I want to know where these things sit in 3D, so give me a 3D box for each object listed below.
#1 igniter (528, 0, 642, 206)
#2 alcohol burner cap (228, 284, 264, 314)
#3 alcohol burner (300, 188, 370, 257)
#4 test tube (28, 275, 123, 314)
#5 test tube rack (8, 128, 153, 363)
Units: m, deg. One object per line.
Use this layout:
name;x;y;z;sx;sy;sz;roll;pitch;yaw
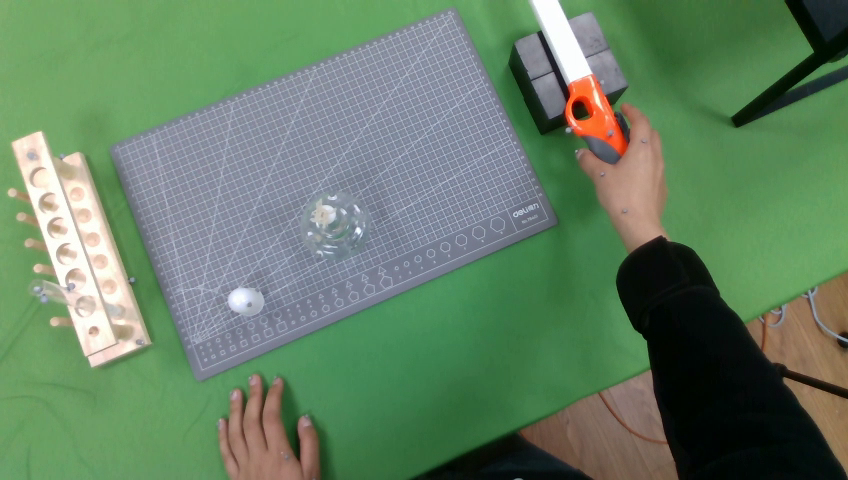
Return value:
igniter;0.177;-0.169;0.676;0.057;0.025;0.275;-21;81;0
alcohol burner cap;-0.199;0.063;0.671;0.034;0.048;0.033;0;80;0
alcohol burner;-0.098;-0.021;0.650;0.078;0.119;0.077;0;82;0
test tube;-0.340;0.057;0.602;0.017;0.151;0.017;0;75;0
test tube rack;-0.384;0.010;0.658;0.067;0.085;0.241;-23;82;-4
